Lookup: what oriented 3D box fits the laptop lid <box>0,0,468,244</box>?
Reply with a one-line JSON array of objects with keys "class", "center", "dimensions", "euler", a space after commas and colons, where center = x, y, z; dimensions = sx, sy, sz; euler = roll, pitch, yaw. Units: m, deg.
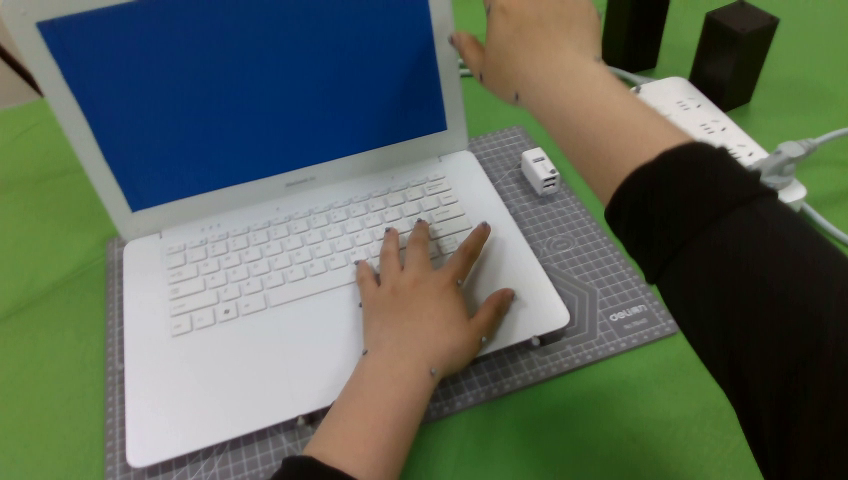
[{"class": "laptop lid", "center": [-0.137, -0.137, 0.541], "dimensions": [0.357, 0.244, 0.013], "euler": [-18, 37, -8]}]

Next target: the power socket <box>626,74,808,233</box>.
[{"class": "power socket", "center": [0.284, -0.096, 0.607], "dimensions": [0.072, 0.033, 0.224], "euler": [-17, 48, -8]}]

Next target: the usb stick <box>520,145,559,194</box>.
[{"class": "usb stick", "center": [0.113, -0.076, 0.608], "dimensions": [0.021, 0.027, 0.058], "euler": [-17, 48, -7]}]

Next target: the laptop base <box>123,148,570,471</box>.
[{"class": "laptop base", "center": [-0.081, 0.039, 0.536], "dimensions": [0.355, 0.023, 0.233], "euler": [-17, 52, -9]}]

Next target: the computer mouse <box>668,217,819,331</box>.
[{"class": "computer mouse", "center": [0.262, 0.021, 0.503], "dimensions": [0.063, 0.041, 0.116], "euler": [-23, 45, -11]}]

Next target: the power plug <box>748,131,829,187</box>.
[{"class": "power plug", "center": [0.332, -0.066, 0.549], "dimensions": [0.072, 0.053, 0.035], "euler": [-8, 51, -3]}]
